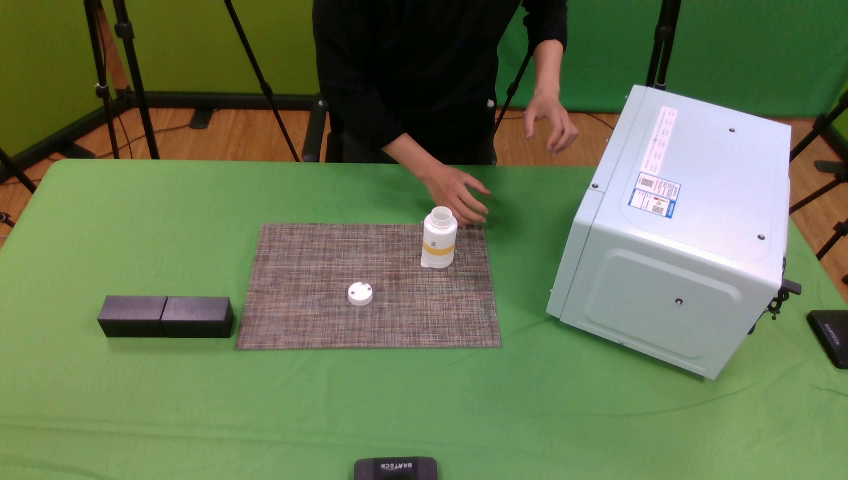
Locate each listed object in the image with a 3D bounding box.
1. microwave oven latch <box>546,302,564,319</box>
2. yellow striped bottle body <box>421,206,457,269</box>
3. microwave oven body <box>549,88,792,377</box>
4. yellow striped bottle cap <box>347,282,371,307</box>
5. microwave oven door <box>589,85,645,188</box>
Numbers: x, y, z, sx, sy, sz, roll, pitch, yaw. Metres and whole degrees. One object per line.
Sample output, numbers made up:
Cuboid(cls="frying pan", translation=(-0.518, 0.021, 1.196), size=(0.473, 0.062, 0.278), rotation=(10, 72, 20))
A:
Cuboid(cls="microwave oven latch", translation=(0.242, 0.102, 1.081), size=(0.030, 0.029, 0.079), rotation=(22, 48, 17))
Cuboid(cls="yellow striped bottle body", translation=(0.028, -0.008, 1.132), size=(0.063, 0.121, 0.062), rotation=(2, 46, -2))
Cuboid(cls="microwave oven body", translation=(0.456, -0.028, 1.088), size=(0.325, 0.261, 0.440), rotation=(20, 47, 16))
Cuboid(cls="yellow striped bottle cap", translation=(-0.117, 0.098, 1.093), size=(0.044, 0.019, 0.044), rotation=(3, 45, -3))
Cuboid(cls="microwave oven door", translation=(0.341, -0.107, 1.149), size=(0.039, 0.245, 0.354), rotation=(20, 48, 15))
